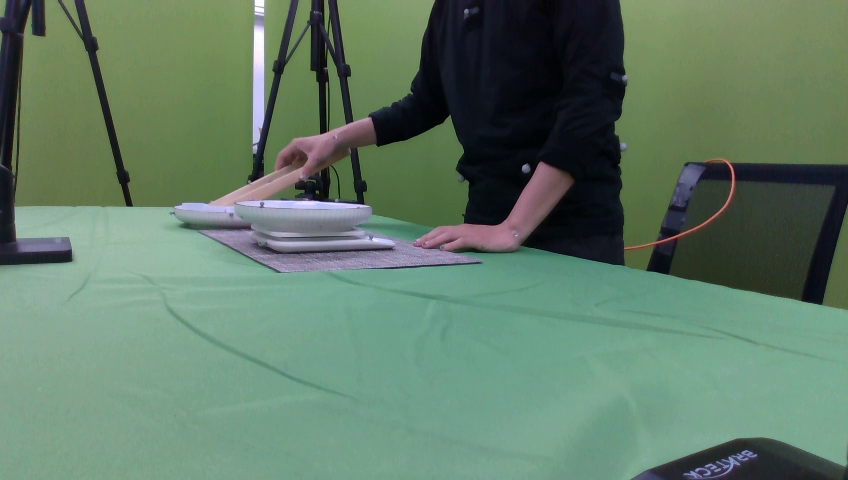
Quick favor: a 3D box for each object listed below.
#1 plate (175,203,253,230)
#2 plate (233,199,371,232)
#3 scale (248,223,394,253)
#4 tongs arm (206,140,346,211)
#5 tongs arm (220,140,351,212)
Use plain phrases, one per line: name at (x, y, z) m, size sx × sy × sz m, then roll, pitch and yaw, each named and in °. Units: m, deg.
plate at (-0.381, -0.047, 1.199) m, size 0.208 × 0.039 × 0.207 m, roll 2°, pitch 7°, yaw 0°
plate at (-0.188, -0.039, 0.939) m, size 0.209 × 0.038 × 0.209 m, roll 2°, pitch 7°, yaw 0°
scale at (-0.162, -0.006, 0.954) m, size 0.202 × 0.031 × 0.148 m, roll -2°, pitch 8°, yaw -32°
tongs arm at (-0.306, -0.143, 1.323) m, size 0.050 × 0.026 × 0.386 m, roll 2°, pitch 28°, yaw 36°
tongs arm at (-0.281, -0.140, 1.303) m, size 0.028 × 0.028 × 0.389 m, roll -1°, pitch 26°, yaw 39°
